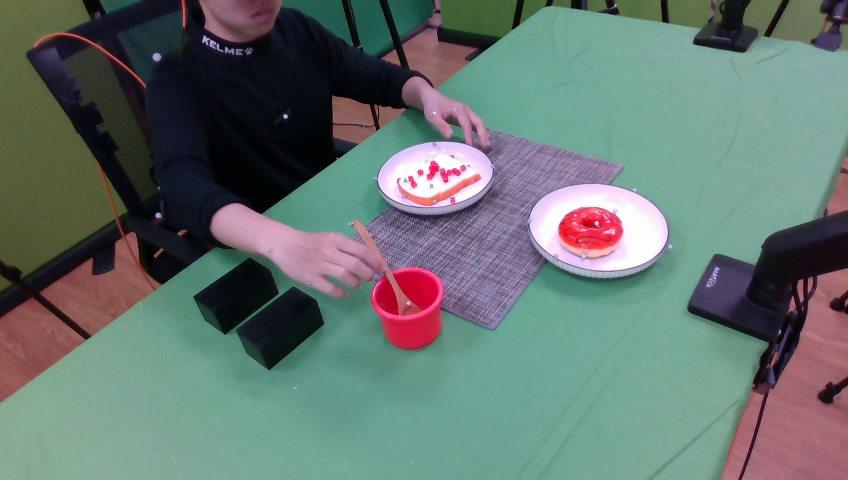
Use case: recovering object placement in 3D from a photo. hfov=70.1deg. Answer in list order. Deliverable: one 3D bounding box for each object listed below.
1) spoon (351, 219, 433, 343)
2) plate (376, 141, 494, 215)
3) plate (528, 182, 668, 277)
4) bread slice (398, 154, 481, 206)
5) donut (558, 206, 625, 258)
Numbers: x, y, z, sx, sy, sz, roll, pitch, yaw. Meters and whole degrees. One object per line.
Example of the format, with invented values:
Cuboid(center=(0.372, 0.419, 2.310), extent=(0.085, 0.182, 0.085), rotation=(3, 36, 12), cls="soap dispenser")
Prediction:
Cuboid(center=(-0.045, 0.054, 0.820), extent=(0.042, 0.021, 0.193), rotation=(-28, 89, -22), cls="spoon")
Cuboid(center=(0.021, -0.106, 1.073), extent=(0.209, 0.038, 0.208), rotation=(-4, 40, 4), cls="plate")
Cuboid(center=(0.264, -0.014, 0.933), extent=(0.207, 0.039, 0.206), rotation=(-3, 42, 3), cls="plate")
Cuboid(center=(0.021, -0.107, 1.077), extent=(0.132, 0.019, 0.104), rotation=(-32, 46, -28), cls="bread slice")
Cuboid(center=(0.254, -0.015, 0.917), extent=(0.099, 0.048, 0.098), rotation=(-5, 41, 5), cls="donut")
